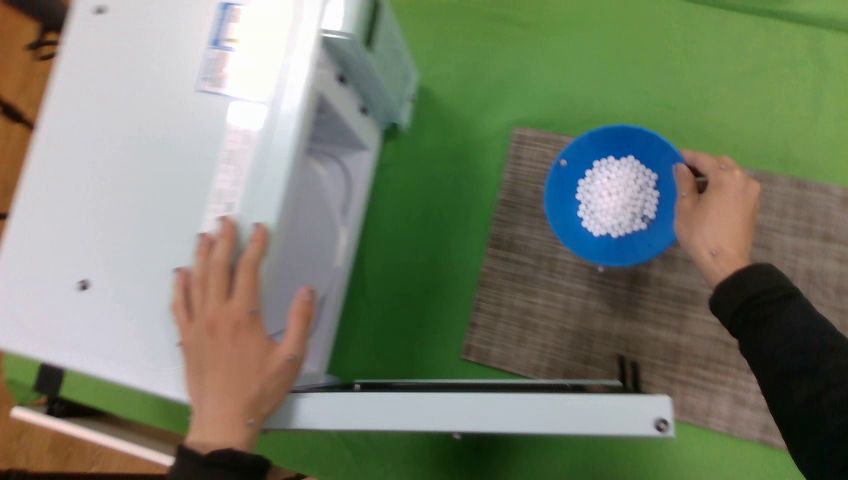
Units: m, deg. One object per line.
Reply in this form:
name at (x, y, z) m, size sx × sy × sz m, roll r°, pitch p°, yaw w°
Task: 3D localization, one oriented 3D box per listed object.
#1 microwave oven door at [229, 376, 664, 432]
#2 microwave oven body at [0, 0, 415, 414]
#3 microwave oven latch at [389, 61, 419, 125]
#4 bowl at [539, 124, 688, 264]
microwave oven door at (0.029, 0.158, 0.596) m, size 0.355 × 0.245 × 0.039 m, roll -3°, pitch 79°, yaw 9°
microwave oven body at (-0.227, -0.066, 0.685) m, size 0.325 × 0.261 × 0.440 m, roll 12°, pitch 83°, yaw 11°
microwave oven latch at (-0.027, -0.189, 0.771) m, size 0.030 × 0.029 × 0.079 m, roll 13°, pitch 83°, yaw 11°
bowl at (0.208, -0.046, 0.673) m, size 0.151 × 0.077 × 0.151 m, roll -1°, pitch 86°, yaw 16°
